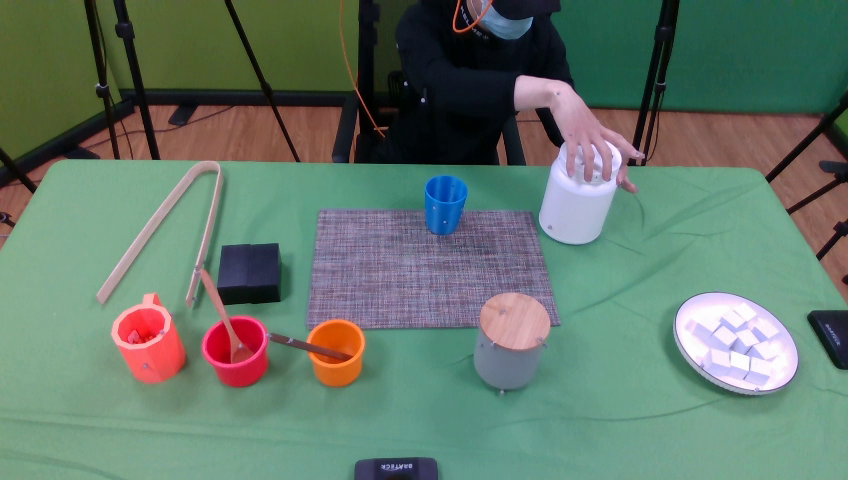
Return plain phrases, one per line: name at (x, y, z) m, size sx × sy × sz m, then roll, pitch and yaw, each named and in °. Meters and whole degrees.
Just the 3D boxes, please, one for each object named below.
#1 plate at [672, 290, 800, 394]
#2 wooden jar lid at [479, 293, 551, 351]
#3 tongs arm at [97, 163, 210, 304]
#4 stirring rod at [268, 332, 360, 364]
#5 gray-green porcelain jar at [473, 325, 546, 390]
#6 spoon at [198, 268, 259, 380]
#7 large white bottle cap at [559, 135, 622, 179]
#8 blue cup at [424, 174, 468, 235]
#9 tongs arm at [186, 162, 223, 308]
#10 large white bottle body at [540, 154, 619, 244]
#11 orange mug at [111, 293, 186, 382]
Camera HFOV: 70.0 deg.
plate at (0.533, 0.178, 1.050) m, size 0.208 × 0.039 × 0.206 m, roll 2°, pitch 46°, yaw -2°
wooden jar lid at (0.137, 0.127, 0.925) m, size 0.108 × 0.021 × 0.107 m, roll 1°, pitch 47°, yaw -1°
tongs arm at (-0.520, -0.028, 1.183) m, size 0.028 × 0.028 × 0.385 m, roll 5°, pitch 45°, yaw 12°
stirring rod at (-0.167, 0.169, 0.942) m, size 0.177 × 0.006 × 0.014 m, roll 26°, pitch 25°, yaw -41°
gray-green porcelain jar at (0.135, 0.170, 0.969) m, size 0.106 × 0.127 × 0.105 m, roll 2°, pitch 46°, yaw -2°
spoon at (-0.312, 0.132, 0.962) m, size 0.041 × 0.021 × 0.194 m, roll -24°, pitch 96°, yaw -22°
large white bottle cap at (0.311, -0.157, 1.136) m, size 0.115 × 0.018 × 0.114 m, roll 2°, pitch 47°, yaw -2°
blue cup at (0.039, -0.065, 1.201) m, size 0.093 × 0.101 × 0.092 m, roll 3°, pitch 47°, yaw -3°
tongs arm at (-0.436, -0.024, 1.181) m, size 0.051 × 0.026 × 0.382 m, roll -2°, pitch 45°, yaw 0°
large white bottle body at (0.308, -0.097, 1.198) m, size 0.131 × 0.185 × 0.130 m, roll 2°, pitch 46°, yaw -1°
orange mug at (-0.435, 0.149, 0.969) m, size 0.083 × 0.101 × 0.125 m, roll -5°, pitch 51°, yaw -8°
